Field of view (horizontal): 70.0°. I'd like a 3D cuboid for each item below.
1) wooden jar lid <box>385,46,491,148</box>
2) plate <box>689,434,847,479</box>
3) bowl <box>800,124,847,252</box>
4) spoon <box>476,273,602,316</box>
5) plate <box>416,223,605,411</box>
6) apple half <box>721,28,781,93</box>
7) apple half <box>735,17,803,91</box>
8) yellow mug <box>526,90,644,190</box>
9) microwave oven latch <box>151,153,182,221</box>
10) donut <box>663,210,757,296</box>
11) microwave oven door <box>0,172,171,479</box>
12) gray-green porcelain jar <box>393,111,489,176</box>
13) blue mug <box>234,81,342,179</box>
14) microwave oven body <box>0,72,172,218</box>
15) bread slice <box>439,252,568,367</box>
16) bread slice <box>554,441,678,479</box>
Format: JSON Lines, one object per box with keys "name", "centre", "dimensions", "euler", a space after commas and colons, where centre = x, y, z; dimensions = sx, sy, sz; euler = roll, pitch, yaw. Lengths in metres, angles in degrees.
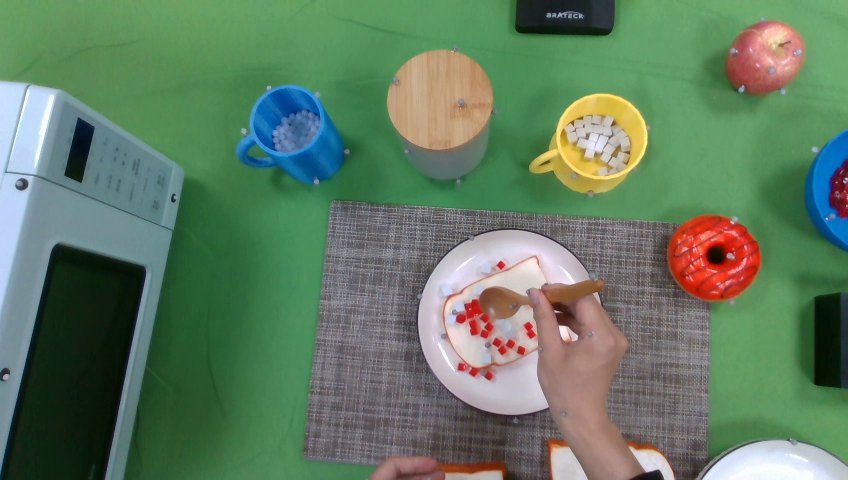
{"name": "wooden jar lid", "centre": [0.014, -0.145, 0.622], "dimensions": [0.108, 0.021, 0.108], "euler": [-1, 79, 4]}
{"name": "plate", "centre": [0.368, 0.308, 0.635], "dimensions": [0.209, 0.038, 0.208], "euler": [-1, 81, 4]}
{"name": "bowl", "centre": [0.479, -0.049, 0.664], "dimensions": [0.151, 0.077, 0.151], "euler": [-1, 81, 4]}
{"name": "spoon", "centre": [0.106, 0.054, 0.592], "dimensions": [0.021, 0.193, 0.042], "euler": [-37, 96, -24]}
{"name": "plate", "centre": [0.095, 0.085, 0.685], "dimensions": [0.207, 0.039, 0.207], "euler": [-1, 81, 4]}
{"name": "apple half", "centre": [0.365, -0.198, 0.696], "dimensions": [0.033, 0.081, 0.081], "euler": [-28, 80, -5]}
{"name": "apple half", "centre": [0.398, -0.217, 0.698], "dimensions": [0.053, 0.075, 0.080], "euler": [-27, 76, -6]}
{"name": "yellow mug", "centre": [0.180, -0.108, 0.699], "dimensions": [0.131, 0.064, 0.099], "euler": [-19, 80, 1]}
{"name": "microwave oven latch", "centre": [-0.311, -0.064, 0.720], "dimensions": [0.030, 0.029, 0.079], "euler": [10, 82, 5]}
{"name": "donut", "centre": [0.318, 0.015, 0.678], "dimensions": [0.099, 0.048, 0.098], "euler": [0, 82, 3]}
{"name": "microwave oven door", "centre": [-0.352, 0.134, 0.588], "dimensions": [0.039, 0.245, 0.354], "euler": [7, 81, 5]}
{"name": "gray-green porcelain jar", "centre": [0.019, -0.134, 0.683], "dimensions": [0.106, 0.127, 0.105], "euler": [-1, 81, 4]}
{"name": "blue mug", "centre": [-0.161, -0.118, 0.703], "dimensions": [0.116, 0.106, 0.082], "euler": [-21, 80, 1]}
{"name": "microwave oven body", "centre": [-0.489, 0.075, 0.612], "dimensions": [0.326, 0.261, 0.440], "euler": [7, 82, 5]}
{"name": "bread slice", "centre": [0.085, 0.085, 0.686], "dimensions": [0.131, 0.019, 0.104], "euler": [-23, 80, 0]}
{"name": "bread slice", "centre": [0.204, 0.266, 0.627], "dimensions": [0.135, 0.018, 0.106], "euler": [0, 78, -16]}
